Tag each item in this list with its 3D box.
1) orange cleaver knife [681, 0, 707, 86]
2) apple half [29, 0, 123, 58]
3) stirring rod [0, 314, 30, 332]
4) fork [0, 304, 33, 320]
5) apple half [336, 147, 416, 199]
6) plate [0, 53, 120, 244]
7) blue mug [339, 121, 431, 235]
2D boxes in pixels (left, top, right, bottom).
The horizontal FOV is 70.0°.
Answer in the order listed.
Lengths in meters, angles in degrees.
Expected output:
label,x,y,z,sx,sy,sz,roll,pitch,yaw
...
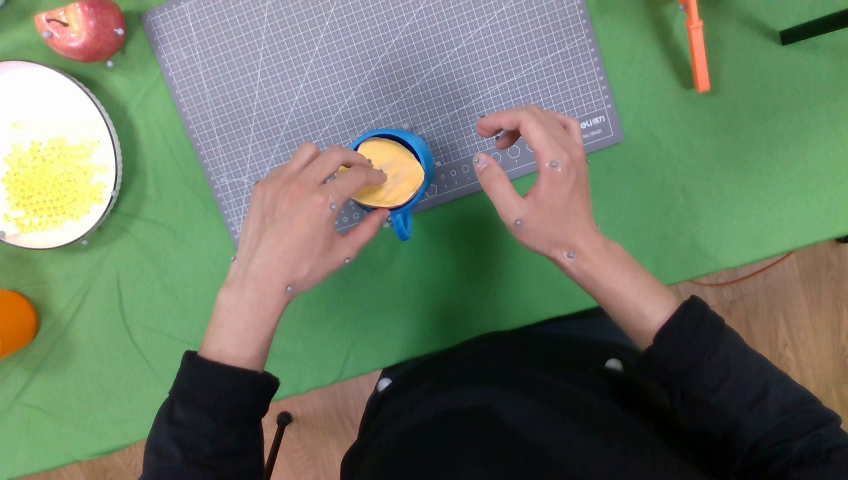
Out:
label,x,y,z,sx,sy,sz,roll,pitch,yaw
orange cleaver knife,0.247,-0.251,0.578,0.012,0.076,0.213,-15,127,16
apple half,-0.353,-0.218,0.630,0.081,0.074,0.053,-15,104,3
stirring rod,-0.543,0.117,0.677,0.176,0.006,0.014,-18,90,-34
fork,-0.557,0.101,0.672,0.208,0.018,0.028,-11,104,-38
apple half,-0.049,-0.057,0.583,0.081,0.081,0.033,23,118,-1
plate,-0.437,-0.100,0.678,0.209,0.038,0.210,1,103,4
blue mug,-0.033,-0.063,0.623,0.082,0.105,0.117,-10,101,6
